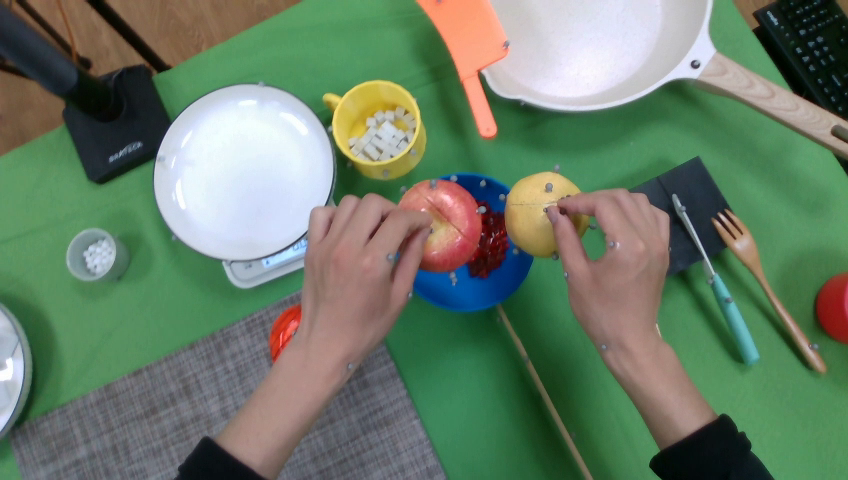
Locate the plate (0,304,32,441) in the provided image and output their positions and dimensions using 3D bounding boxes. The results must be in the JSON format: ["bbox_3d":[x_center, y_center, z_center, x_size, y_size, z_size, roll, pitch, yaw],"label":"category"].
[{"bbox_3d":[-0.557,0.162,0.714,0.207,0.039,0.207,-1,81,5],"label":"plate"}]

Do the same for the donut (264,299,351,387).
[{"bbox_3d":[-0.131,0.115,0.680,0.099,0.048,0.098,-1,83,6],"label":"donut"}]

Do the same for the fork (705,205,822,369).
[{"bbox_3d":[0.363,0.052,0.643,0.028,0.018,0.208,-35,96,-4],"label":"fork"}]

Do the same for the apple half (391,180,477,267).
[{"bbox_3d":[0.002,-0.007,0.535,0.081,0.074,0.053,43,93,3],"label":"apple half"}]

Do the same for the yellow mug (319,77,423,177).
[{"bbox_3d":[-0.068,-0.137,0.705,0.130,0.064,0.100,31,86,10],"label":"yellow mug"}]

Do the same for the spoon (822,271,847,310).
[{"bbox_3d":[0.475,0.090,0.587,0.041,0.022,0.191,-32,36,-1],"label":"spoon"}]

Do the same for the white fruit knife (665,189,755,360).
[{"bbox_3d":[0.301,0.039,0.642,0.016,0.027,0.207,-28,95,0],"label":"white fruit knife"}]

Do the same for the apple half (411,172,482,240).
[{"bbox_3d":[0.028,-0.036,0.534,0.081,0.081,0.033,44,95,10],"label":"apple half"}]

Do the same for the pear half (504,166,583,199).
[{"bbox_3d":[0.107,-0.052,0.551,0.070,0.088,0.031,-11,91,2],"label":"pear half"}]

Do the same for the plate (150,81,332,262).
[{"bbox_3d":[-0.204,-0.076,0.691,0.209,0.038,0.208,-1,81,4],"label":"plate"}]

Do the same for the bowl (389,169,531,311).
[{"bbox_3d":[0.041,0.005,0.669,0.151,0.077,0.151,-1,82,5],"label":"bowl"}]

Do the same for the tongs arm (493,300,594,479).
[{"bbox_3d":[0.181,0.224,0.648,0.051,0.026,0.383,-26,81,-5],"label":"tongs arm"}]

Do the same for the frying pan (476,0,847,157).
[{"bbox_3d":[0.250,-0.224,0.673,0.485,0.103,0.306,36,87,17],"label":"frying pan"}]

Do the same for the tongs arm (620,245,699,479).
[{"bbox_3d":[0.262,0.193,0.651,0.028,0.028,0.386,-11,81,-6],"label":"tongs arm"}]

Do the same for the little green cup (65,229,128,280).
[{"bbox_3d":[-0.388,0.020,0.722,0.061,0.039,0.061,-1,81,5],"label":"little green cup"}]

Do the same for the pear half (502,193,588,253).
[{"bbox_3d":[0.111,-0.017,0.541,0.076,0.110,0.056,-10,90,2],"label":"pear half"}]

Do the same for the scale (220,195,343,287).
[{"bbox_3d":[-0.195,-0.058,0.721,0.148,0.031,0.200,-22,81,1],"label":"scale"}]

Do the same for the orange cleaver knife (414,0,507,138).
[{"bbox_3d":[0.050,-0.217,0.670,0.077,0.012,0.210,-22,81,4],"label":"orange cleaver knife"}]
